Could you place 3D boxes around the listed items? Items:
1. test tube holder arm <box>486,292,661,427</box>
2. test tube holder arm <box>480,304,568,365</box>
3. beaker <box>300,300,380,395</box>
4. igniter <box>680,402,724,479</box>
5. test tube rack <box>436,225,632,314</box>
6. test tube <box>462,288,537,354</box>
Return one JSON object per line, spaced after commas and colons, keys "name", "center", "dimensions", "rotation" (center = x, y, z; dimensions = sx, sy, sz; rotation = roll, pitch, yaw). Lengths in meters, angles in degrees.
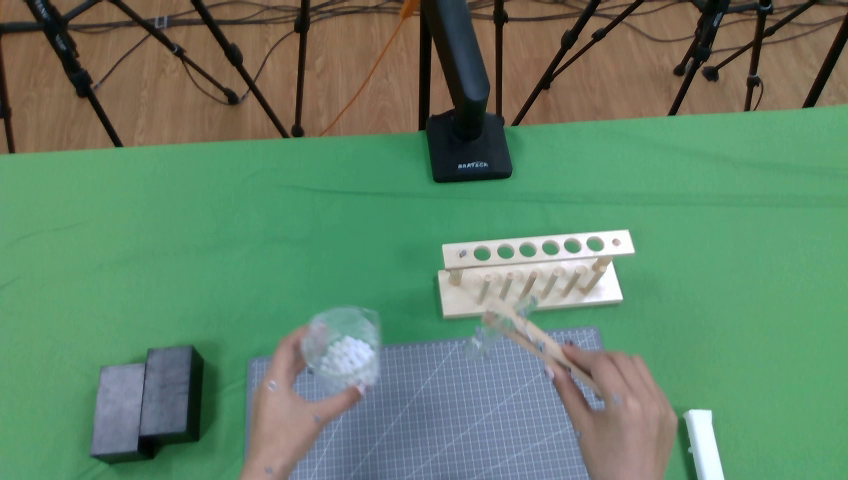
{"name": "test tube holder arm", "center": [0.130, 0.104, 0.532], "dimensions": [0.178, 0.013, 0.015], "rotation": [35, 30, 10]}
{"name": "test tube holder arm", "center": [0.091, 0.084, 0.543], "dimensions": [0.087, 0.010, 0.015], "rotation": [30, 28, 13]}
{"name": "beaker", "center": [-0.080, 0.113, 0.622], "dimensions": [0.073, 0.101, 0.084], "rotation": [42, 68, 18]}
{"name": "igniter", "center": [0.331, 0.321, 0.678], "dimensions": [0.057, 0.025, 0.274], "rotation": [6, 61, -12]}
{"name": "test tube rack", "center": [0.142, 0.039, 0.788], "dimensions": [0.243, 0.086, 0.066], "rotation": [-5, 61, -6]}
{"name": "test tube", "center": [0.072, 0.069, 0.543], "dimensions": [0.017, 0.017, 0.150], "rotation": [38, 27, 17]}
